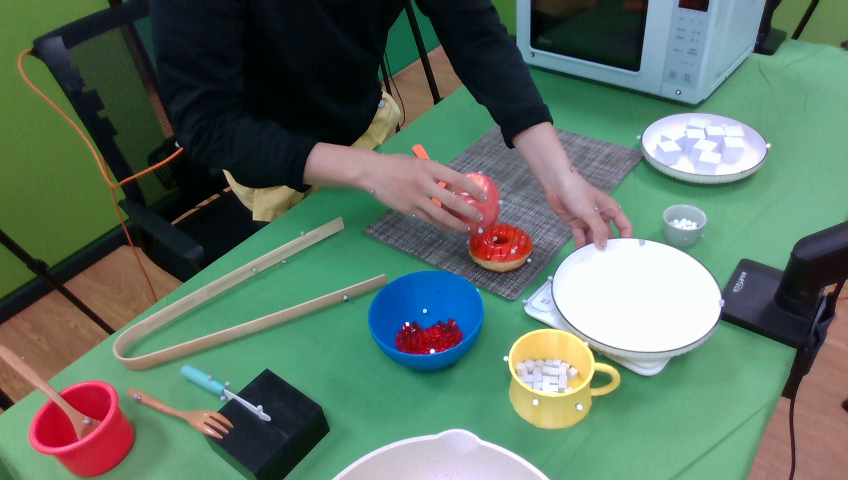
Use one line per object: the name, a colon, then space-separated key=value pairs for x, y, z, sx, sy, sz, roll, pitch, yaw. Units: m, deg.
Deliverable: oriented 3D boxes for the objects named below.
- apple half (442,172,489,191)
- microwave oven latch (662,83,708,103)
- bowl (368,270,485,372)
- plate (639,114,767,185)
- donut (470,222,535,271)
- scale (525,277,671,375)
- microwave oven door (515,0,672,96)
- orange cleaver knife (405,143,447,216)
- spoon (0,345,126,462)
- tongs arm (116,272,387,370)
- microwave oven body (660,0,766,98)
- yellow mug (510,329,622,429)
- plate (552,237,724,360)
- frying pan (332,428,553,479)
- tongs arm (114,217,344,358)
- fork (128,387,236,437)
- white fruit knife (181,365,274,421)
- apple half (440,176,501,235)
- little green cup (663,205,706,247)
apple half: x=0.061 y=-0.065 z=0.832 sx=0.081 sy=0.081 sz=0.032 roll=-7 pitch=45 yaw=1
microwave oven latch: x=0.518 y=-0.297 z=1.204 sx=0.078 sy=0.029 sz=0.030 roll=28 pitch=53 yaw=36
bowl: x=0.007 y=0.118 z=0.791 sx=0.151 sy=0.077 sz=0.150 roll=-5 pitch=40 yaw=4
plate: x=0.489 y=-0.157 z=1.074 sx=0.207 sy=0.039 sz=0.206 roll=-4 pitch=40 yaw=4
donut: x=0.119 y=0.009 z=0.923 sx=0.099 sy=0.048 sz=0.098 roll=-4 pitch=38 yaw=4
scale: x=0.254 y=0.092 z=0.821 sx=0.199 sy=0.032 sz=0.149 roll=28 pitch=51 yaw=35
microwave oven door: x=0.343 y=-0.454 z=1.259 sx=0.353 sy=0.245 sz=0.039 roll=26 pitch=51 yaw=33
orange cleaver knife: x=0.005 y=-0.113 z=1.102 sx=0.077 sy=0.012 sz=0.209 roll=-23 pitch=45 yaw=-9
spoon: x=-0.434 y=0.192 z=0.720 sx=0.194 sy=0.021 sz=0.042 roll=47 pitch=53 yaw=-6
tongs arm: x=-0.237 y=0.114 z=0.869 sx=0.389 sy=0.028 sz=0.028 roll=-18 pitch=48 yaw=-12
microwave oven body: x=0.472 y=-0.513 z=1.317 sx=0.438 sy=0.261 sz=0.327 roll=26 pitch=51 yaw=34
yellow mug: x=0.169 y=0.164 z=0.721 sx=0.130 sy=0.064 sz=0.099 roll=0 pitch=40 yaw=8
plate: x=0.272 y=0.076 z=0.784 sx=0.209 sy=0.038 sz=0.208 roll=-4 pitch=40 yaw=4
frying pan: x=-0.089 y=0.306 z=0.564 sx=0.487 sy=0.103 sz=0.306 roll=10 pitch=41 yaw=7
tongs arm: x=-0.280 y=0.067 z=0.927 sx=0.386 sy=0.026 sz=0.050 roll=-29 pitch=48 yaw=-23
fork: x=-0.305 y=0.207 z=0.744 sx=0.206 sy=0.019 sz=0.028 roll=3 pitch=41 yaw=36
white fruit knife: x=-0.245 y=0.187 z=0.747 sx=0.205 sy=0.027 sz=0.016 roll=9 pitch=41 yaw=41
apple half: x=0.065 y=-0.039 z=0.804 sx=0.081 sy=0.075 sz=0.053 roll=-10 pitch=45 yaw=3
little green cup: x=0.396 y=-0.020 z=0.926 sx=0.061 sy=0.039 sz=0.061 roll=-4 pitch=40 yaw=4
